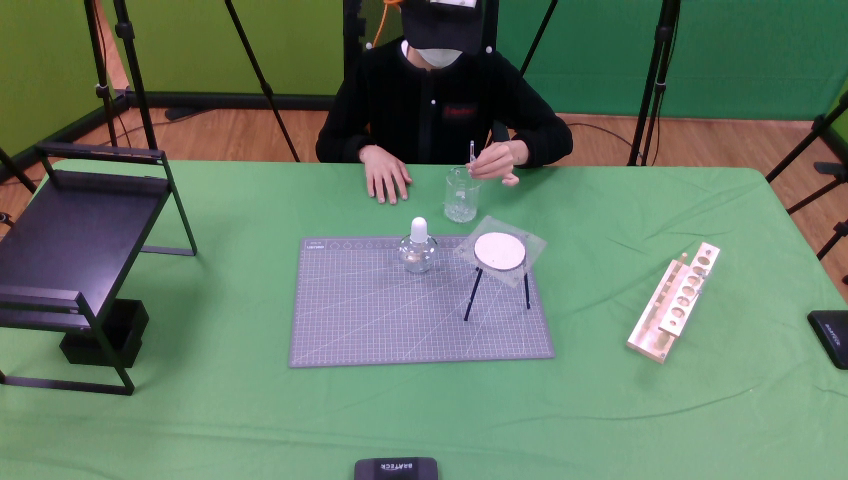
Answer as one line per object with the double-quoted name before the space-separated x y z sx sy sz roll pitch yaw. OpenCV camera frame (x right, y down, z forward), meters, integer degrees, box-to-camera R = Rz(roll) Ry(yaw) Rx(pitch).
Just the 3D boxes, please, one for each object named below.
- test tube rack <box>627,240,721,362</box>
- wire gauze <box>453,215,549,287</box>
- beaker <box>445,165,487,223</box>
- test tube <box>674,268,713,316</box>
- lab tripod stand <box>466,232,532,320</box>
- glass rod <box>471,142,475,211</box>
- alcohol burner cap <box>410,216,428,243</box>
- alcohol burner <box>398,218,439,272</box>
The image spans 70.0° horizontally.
"test tube rack" 0.452 0.098 1.087 0.066 0.085 0.242 28 51 22
"wire gauze" 0.129 0.012 1.017 0.124 0.011 0.121 28 50 23
"beaker" 0.082 -0.091 1.236 0.084 0.101 0.073 -7 47 -11
"test tube" 0.445 0.098 1.017 0.017 0.151 0.017 4 48 -4
"lab tripod stand" 0.125 0.059 1.065 0.148 0.132 0.147 1 45 0
"glass rod" 0.097 -0.120 1.192 0.008 0.201 0.008 -2 53 3
"alcohol burner cap" -0.009 -0.022 1.099 0.034 0.048 0.033 2 41 -1
"alcohol burner" -0.010 0.004 1.123 0.078 0.120 0.077 1 47 0
